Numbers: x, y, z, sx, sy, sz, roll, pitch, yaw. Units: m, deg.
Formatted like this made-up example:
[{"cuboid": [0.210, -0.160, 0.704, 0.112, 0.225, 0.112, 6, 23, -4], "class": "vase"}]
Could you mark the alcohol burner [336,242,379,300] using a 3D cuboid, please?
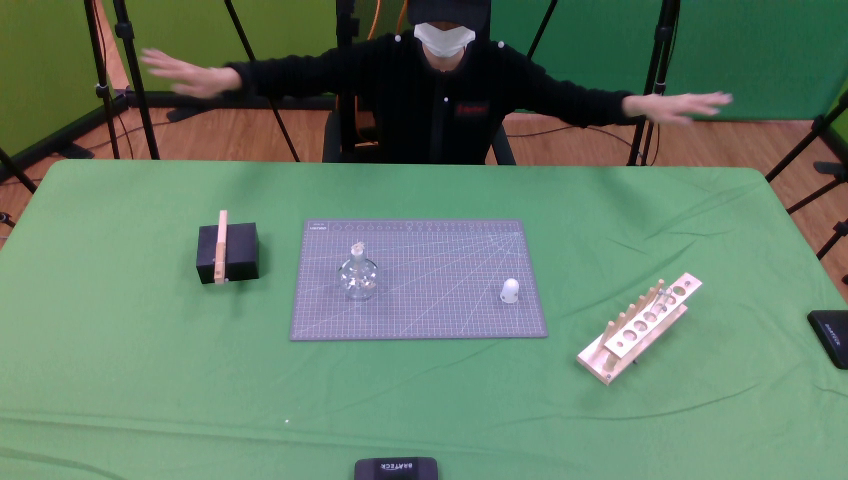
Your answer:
[{"cuboid": [-0.118, 0.050, 1.072, 0.078, 0.120, 0.077, 2, 44, -1], "class": "alcohol burner"}]

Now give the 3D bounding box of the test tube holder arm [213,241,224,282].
[{"cuboid": [-0.359, 0.037, 1.061, 0.015, 0.010, 0.087, -6, 47, -9], "class": "test tube holder arm"}]

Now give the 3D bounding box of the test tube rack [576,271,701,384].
[{"cuboid": [0.373, 0.138, 1.047, 0.242, 0.085, 0.066, -31, 55, -29], "class": "test tube rack"}]

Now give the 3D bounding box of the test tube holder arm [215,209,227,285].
[{"cuboid": [-0.367, 0.008, 1.095, 0.015, 0.013, 0.177, -6, 48, -9], "class": "test tube holder arm"}]

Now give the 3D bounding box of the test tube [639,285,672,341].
[{"cuboid": [0.374, 0.123, 0.994, 0.017, 0.151, 0.017, 1, 50, -1], "class": "test tube"}]

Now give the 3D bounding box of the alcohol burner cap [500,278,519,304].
[{"cuboid": [0.157, 0.090, 1.104, 0.034, 0.048, 0.033, 2, 46, -2], "class": "alcohol burner cap"}]
